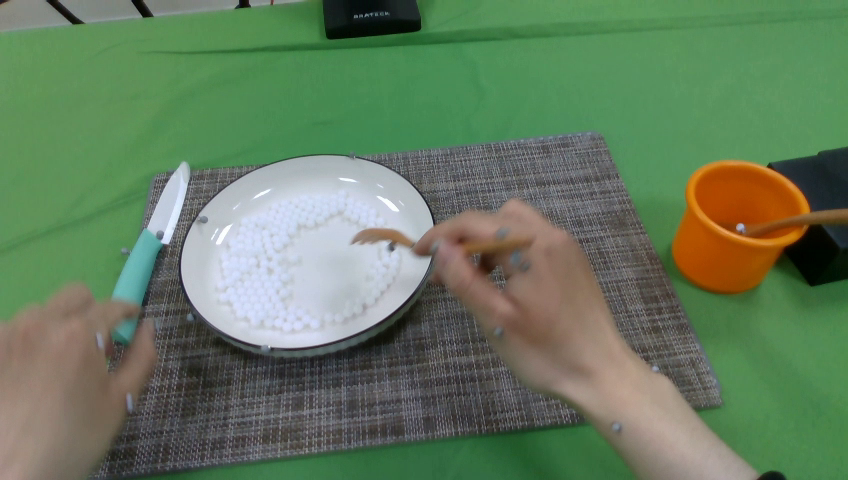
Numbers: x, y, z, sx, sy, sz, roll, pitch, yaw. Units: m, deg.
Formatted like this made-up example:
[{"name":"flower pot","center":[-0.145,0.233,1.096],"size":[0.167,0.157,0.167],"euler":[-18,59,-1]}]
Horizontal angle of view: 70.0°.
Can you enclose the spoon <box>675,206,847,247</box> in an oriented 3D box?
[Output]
[{"name":"spoon","center":[0.275,-0.013,0.450],"size":[0.041,0.193,0.022],"euler":[-35,102,-28]}]

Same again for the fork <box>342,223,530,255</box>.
[{"name":"fork","center":[-0.003,-0.001,0.394],"size":[0.028,0.018,0.206],"euler":[5,2,-32]}]

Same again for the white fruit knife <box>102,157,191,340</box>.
[{"name":"white fruit knife","center":[-0.239,-0.004,0.535],"size":[0.027,0.016,0.205],"euler":[20,45,-19]}]

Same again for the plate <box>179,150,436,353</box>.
[{"name":"plate","center":[-0.093,0.007,0.507],"size":[0.209,0.038,0.207],"euler":[-1,50,1]}]
